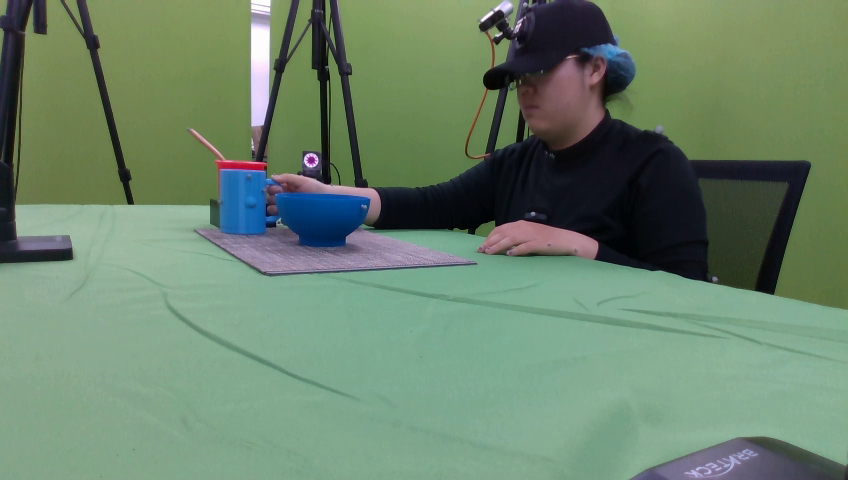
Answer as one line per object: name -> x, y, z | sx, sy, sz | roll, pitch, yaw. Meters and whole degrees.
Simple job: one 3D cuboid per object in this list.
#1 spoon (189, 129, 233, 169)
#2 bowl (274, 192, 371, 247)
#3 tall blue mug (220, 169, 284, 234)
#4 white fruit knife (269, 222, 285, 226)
spoon -> -0.388, -0.150, 1.174 | 0.193, 0.021, 0.042 | 48, 20, 7
bowl -> -0.161, -0.032, 0.959 | 0.151, 0.077, 0.151 | 3, 8, 0
tall blue mug -> -0.309, -0.069, 1.070 | 0.077, 0.108, 0.107 | 5, 8, 25
white fruit knife -> -0.221, -0.037, 1.261 | 0.208, 0.016, 0.027 | -4, -18, -32
